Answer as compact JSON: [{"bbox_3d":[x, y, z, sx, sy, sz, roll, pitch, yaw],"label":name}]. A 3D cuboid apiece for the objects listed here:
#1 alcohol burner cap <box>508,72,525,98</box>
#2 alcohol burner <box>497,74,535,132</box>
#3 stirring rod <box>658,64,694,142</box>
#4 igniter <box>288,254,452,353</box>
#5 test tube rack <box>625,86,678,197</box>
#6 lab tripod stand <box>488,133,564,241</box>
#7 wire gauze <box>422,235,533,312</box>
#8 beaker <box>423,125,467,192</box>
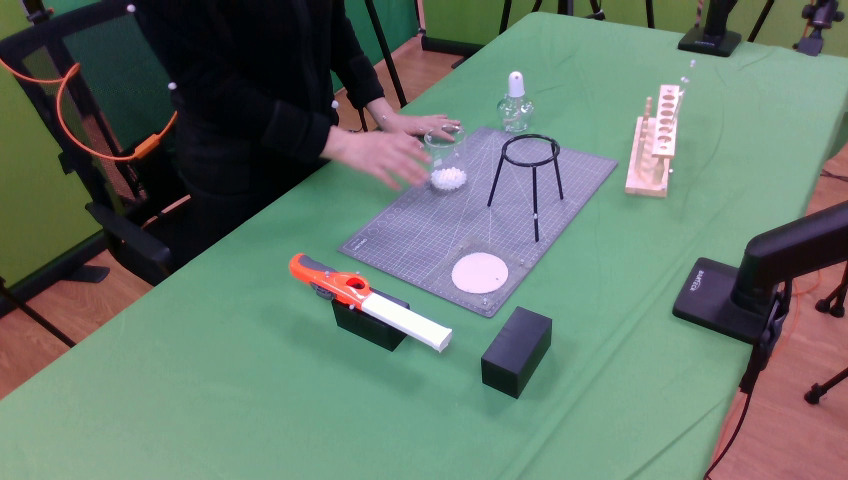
[{"bbox_3d":[0.181,-0.306,1.186,0.034,0.048,0.033,-7,39,6],"label":"alcohol burner cap"},{"bbox_3d":[0.184,-0.278,1.210,0.078,0.119,0.077,-3,42,3],"label":"alcohol burner"},{"bbox_3d":[0.409,-0.213,1.000,0.006,0.176,0.014,36,57,25],"label":"stirring rod"},{"bbox_3d":[-0.083,0.079,0.818,0.274,0.025,0.057,23,46,27],"label":"igniter"},{"bbox_3d":[0.412,-0.184,1.088,0.066,0.085,0.242,9,43,18],"label":"test tube rack"},{"bbox_3d":[0.168,-0.093,0.972,0.148,0.132,0.147,-5,41,5],"label":"lab tripod stand"},{"bbox_3d":[0.081,0.049,0.914,0.120,0.011,0.125,26,52,32],"label":"wire gauze"},{"bbox_3d":[0.042,-0.144,1.077,0.073,0.100,0.084,28,51,33],"label":"beaker"}]
